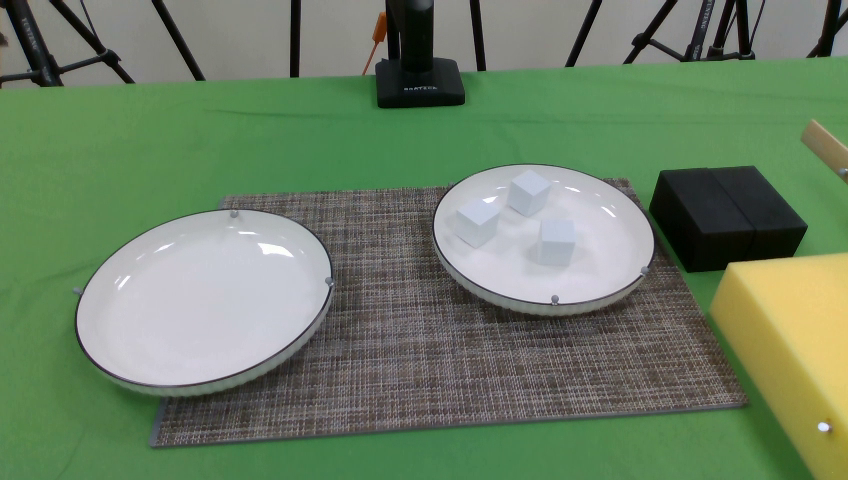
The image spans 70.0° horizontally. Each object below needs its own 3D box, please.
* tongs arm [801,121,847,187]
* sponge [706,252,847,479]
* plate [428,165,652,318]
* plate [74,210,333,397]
[{"bbox_3d":[0.411,0.018,0.455,0.028,0.028,0.383,-4,42,-10],"label":"tongs arm"},{"bbox_3d":[0.323,0.103,0.456,0.118,0.061,0.204,-6,42,-6],"label":"sponge"},{"bbox_3d":[0.107,0.001,0.582,0.208,0.039,0.205,0,41,0],"label":"plate"},{"bbox_3d":[-0.182,0.052,0.522,0.209,0.038,0.207,0,41,0],"label":"plate"}]
